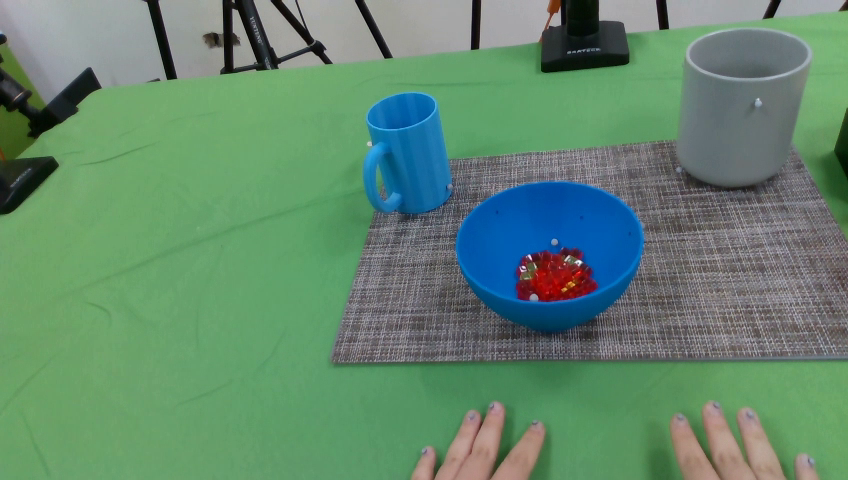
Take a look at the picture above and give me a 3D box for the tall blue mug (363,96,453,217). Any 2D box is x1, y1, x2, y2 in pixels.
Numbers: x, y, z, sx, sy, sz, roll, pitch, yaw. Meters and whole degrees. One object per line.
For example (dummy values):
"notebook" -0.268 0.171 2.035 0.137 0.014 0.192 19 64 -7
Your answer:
"tall blue mug" -0.016 -0.079 0.646 0.077 0.109 0.106 -2 42 12

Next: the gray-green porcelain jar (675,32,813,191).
"gray-green porcelain jar" 0.305 -0.120 0.591 0.106 0.128 0.105 -8 41 7

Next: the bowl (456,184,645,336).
"bowl" 0.106 0.028 0.514 0.151 0.077 0.150 -7 41 7
